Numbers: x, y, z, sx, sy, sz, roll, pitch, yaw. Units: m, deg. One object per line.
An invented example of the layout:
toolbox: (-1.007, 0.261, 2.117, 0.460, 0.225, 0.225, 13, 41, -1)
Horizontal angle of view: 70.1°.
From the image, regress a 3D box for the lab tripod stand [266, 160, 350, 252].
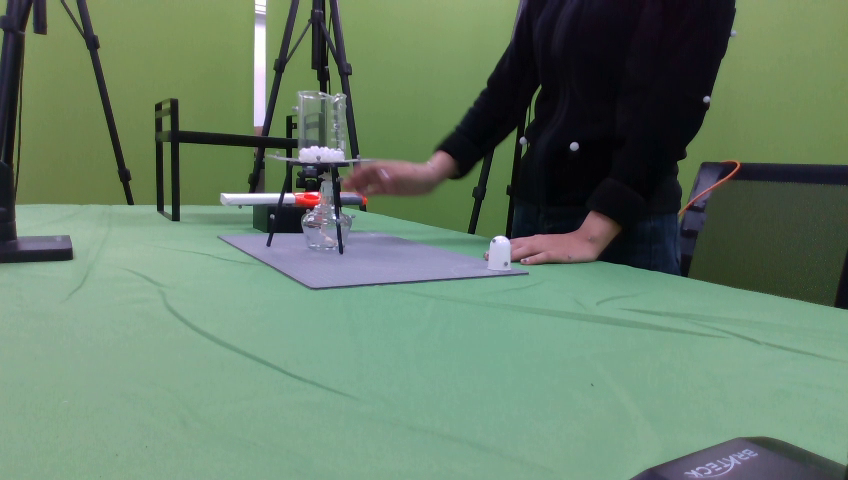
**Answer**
lab tripod stand: (-0.164, -0.054, 0.915, 0.148, 0.131, 0.148, 2, 9, 0)

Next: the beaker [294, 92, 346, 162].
beaker: (-0.152, -0.165, 0.896, 0.074, 0.100, 0.083, -4, 10, -33)

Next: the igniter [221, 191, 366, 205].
igniter: (-0.240, -0.079, 1.150, 0.278, 0.025, 0.057, -3, 20, -32)

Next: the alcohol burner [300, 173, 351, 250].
alcohol burner: (-0.149, -0.044, 0.921, 0.078, 0.119, 0.078, 4, 7, 0)

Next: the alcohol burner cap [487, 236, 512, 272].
alcohol burner cap: (0.101, 0.019, 0.802, 0.034, 0.048, 0.034, 3, 7, 0)

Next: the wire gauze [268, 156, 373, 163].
wire gauze: (-0.154, -0.119, 0.910, 0.122, 0.011, 0.124, -4, 8, -45)
